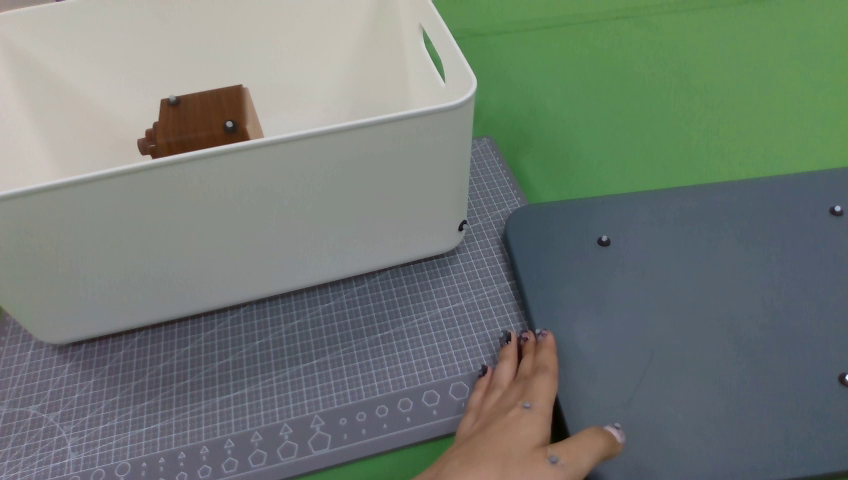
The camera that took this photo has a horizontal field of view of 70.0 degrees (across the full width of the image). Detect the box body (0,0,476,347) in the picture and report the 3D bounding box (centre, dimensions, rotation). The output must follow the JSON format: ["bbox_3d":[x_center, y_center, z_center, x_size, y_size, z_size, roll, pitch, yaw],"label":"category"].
[{"bbox_3d":[-0.160,-0.083,0.504,0.364,0.162,0.251,-13,48,-9],"label":"box body"}]

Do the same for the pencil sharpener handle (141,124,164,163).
[{"bbox_3d":[-0.222,-0.062,0.500,0.031,0.068,0.035,-12,51,-6],"label":"pencil sharpener handle"}]

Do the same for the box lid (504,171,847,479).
[{"bbox_3d":[0.260,0.050,0.459,0.372,0.015,0.260,-7,47,-4],"label":"box lid"}]

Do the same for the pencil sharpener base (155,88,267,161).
[{"bbox_3d":[-0.172,-0.064,0.515,0.077,0.108,0.060,-12,48,-6],"label":"pencil sharpener base"}]
